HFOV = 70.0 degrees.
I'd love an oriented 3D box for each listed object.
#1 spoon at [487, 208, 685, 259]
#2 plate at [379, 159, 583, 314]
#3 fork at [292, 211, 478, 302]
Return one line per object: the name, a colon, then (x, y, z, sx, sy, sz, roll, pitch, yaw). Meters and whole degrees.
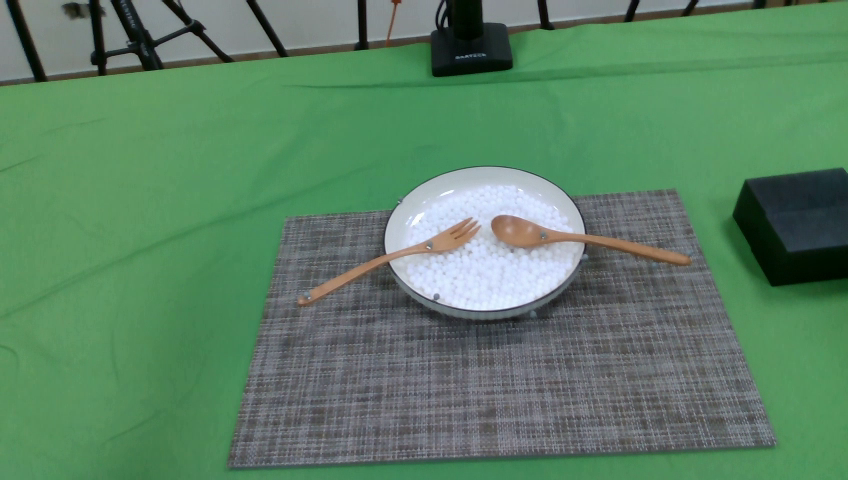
spoon: (0.153, -0.004, 0.594, 0.192, 0.022, 0.041, 10, 46, 26)
plate: (0.058, -0.004, 0.631, 0.209, 0.038, 0.207, -4, 47, 5)
fork: (-0.035, 0.015, 0.606, 0.208, 0.019, 0.028, -22, 50, -23)
